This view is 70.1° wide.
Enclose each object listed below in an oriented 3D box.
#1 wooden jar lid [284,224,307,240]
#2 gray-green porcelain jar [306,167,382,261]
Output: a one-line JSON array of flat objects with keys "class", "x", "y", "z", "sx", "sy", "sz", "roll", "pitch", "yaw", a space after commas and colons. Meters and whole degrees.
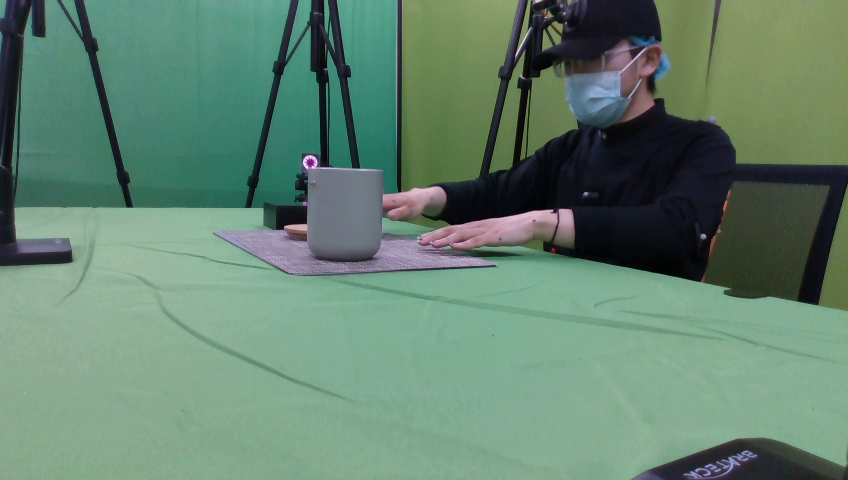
[{"class": "wooden jar lid", "x": -0.190, "y": -0.014, "z": 1.057, "sx": 0.108, "sy": 0.020, "sz": 0.108, "roll": 2, "pitch": 6, "yaw": 0}, {"class": "gray-green porcelain jar", "x": -0.112, "y": -0.039, "z": 0.850, "sx": 0.106, "sy": 0.126, "sz": 0.106, "roll": 2, "pitch": 7, "yaw": 0}]
